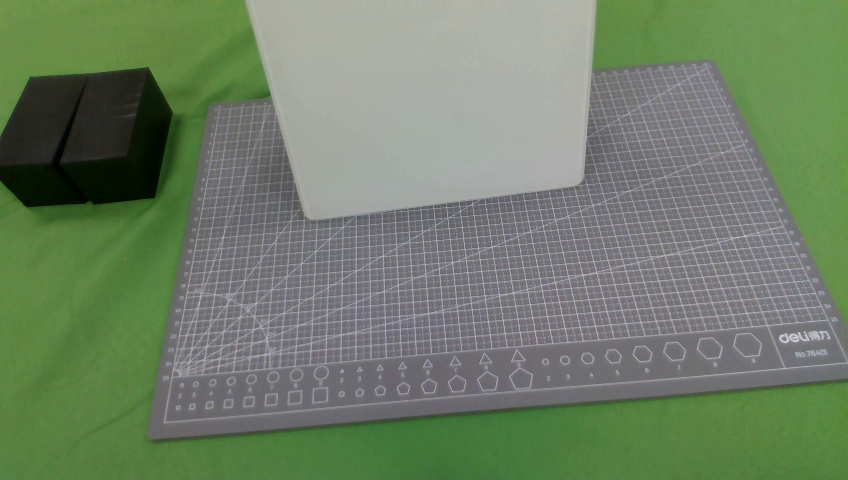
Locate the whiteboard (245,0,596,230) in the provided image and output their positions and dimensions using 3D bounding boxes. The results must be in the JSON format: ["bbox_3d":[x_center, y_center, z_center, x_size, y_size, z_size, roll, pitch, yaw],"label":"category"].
[{"bbox_3d":[-0.003,-0.184,0.426,0.217,0.308,0.142,-7,36,0],"label":"whiteboard"}]
